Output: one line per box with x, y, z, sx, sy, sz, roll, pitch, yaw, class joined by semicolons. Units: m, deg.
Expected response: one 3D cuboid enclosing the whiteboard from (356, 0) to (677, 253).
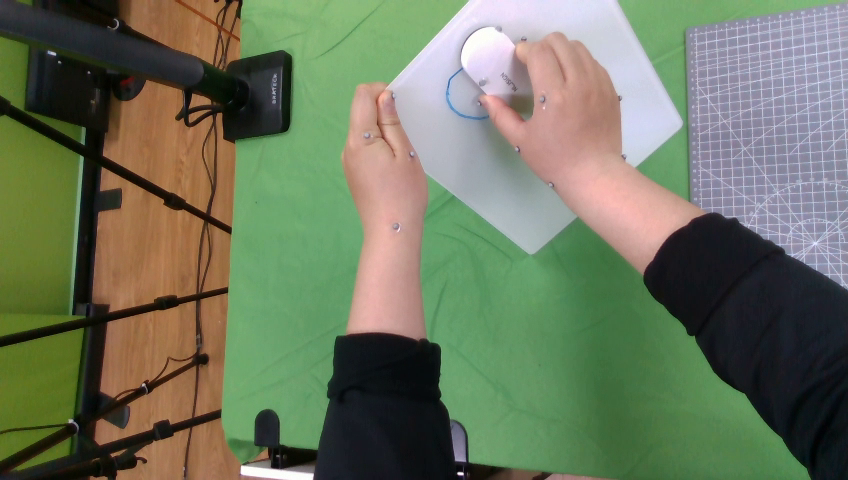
0.083;-0.156;0.608;0.217;0.309;0.142;-43;49;14;whiteboard

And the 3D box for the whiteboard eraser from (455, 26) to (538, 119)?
0.061;-0.136;0.500;0.041;0.102;0.018;-43;49;12;whiteboard eraser
